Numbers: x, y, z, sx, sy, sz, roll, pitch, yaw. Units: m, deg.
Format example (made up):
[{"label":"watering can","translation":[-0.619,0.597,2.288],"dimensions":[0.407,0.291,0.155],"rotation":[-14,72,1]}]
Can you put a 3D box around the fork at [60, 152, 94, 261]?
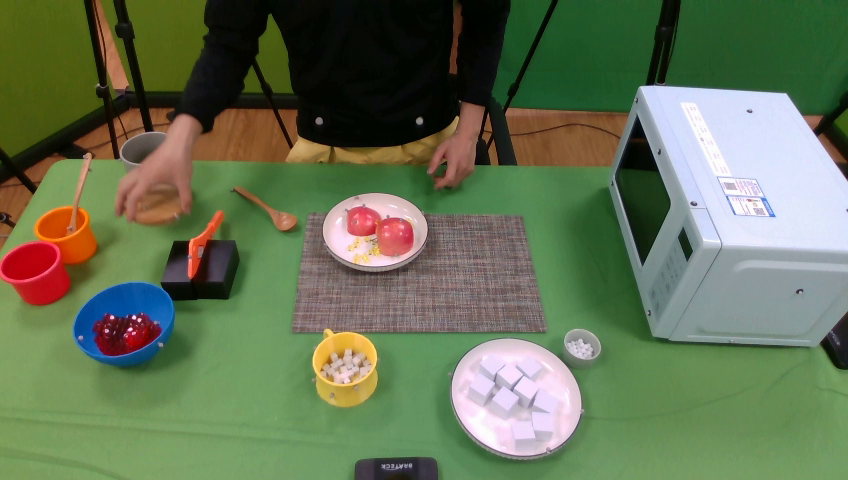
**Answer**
[{"label":"fork","translation":[-0.638,-0.063,1.119],"dimensions":[0.028,0.018,0.207],"rotation":[12,90,6]}]

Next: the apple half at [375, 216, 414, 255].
[{"label":"apple half","translation":[-0.056,-0.017,1.169],"dimensions":[0.075,0.053,0.080],"rotation":[0,45,-7]}]

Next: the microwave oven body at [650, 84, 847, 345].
[{"label":"microwave oven body","translation":[0.569,-0.054,1.116],"dimensions":[0.326,0.261,0.439],"rotation":[2,46,-1]}]

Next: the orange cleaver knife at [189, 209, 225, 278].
[{"label":"orange cleaver knife","translation":[-0.400,0.002,1.122],"dimensions":[0.012,0.077,0.210],"rotation":[3,22,-4]}]

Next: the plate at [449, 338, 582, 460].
[{"label":"plate","translation":[0.141,0.251,0.956],"dimensions":[0.208,0.039,0.206],"rotation":[2,46,-2]}]

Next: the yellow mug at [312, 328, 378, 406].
[{"label":"yellow mug","translation":[-0.132,0.193,0.971],"dimensions":[0.100,0.064,0.130],"rotation":[-22,51,-22]}]

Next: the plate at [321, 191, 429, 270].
[{"label":"plate","translation":[-0.094,-0.015,1.185],"dimensions":[0.209,0.038,0.208],"rotation":[2,46,-2]}]

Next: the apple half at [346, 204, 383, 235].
[{"label":"apple half","translation":[-0.119,-0.049,1.207],"dimensions":[0.081,0.033,0.081],"rotation":[2,50,-2]}]

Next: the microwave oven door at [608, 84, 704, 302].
[{"label":"microwave oven door","translation":[0.424,-0.096,1.138],"dimensions":[0.039,0.245,0.353],"rotation":[2,47,-1]}]

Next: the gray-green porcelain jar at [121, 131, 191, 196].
[{"label":"gray-green porcelain jar","translation":[-0.531,-0.136,1.213],"dimensions":[0.106,0.127,0.105],"rotation":[2,47,-2]}]

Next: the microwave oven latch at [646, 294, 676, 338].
[{"label":"microwave oven latch","translation":[0.413,0.133,1.061],"dimensions":[0.030,0.029,0.078],"rotation":[4,46,1]}]

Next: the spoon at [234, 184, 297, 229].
[{"label":"spoon","translation":[-0.327,-0.074,1.239],"dimensions":[0.193,0.022,0.041],"rotation":[33,70,25]}]

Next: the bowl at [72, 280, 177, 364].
[{"label":"bowl","translation":[-0.473,0.147,0.982],"dimensions":[0.151,0.077,0.150],"rotation":[2,46,-2]}]

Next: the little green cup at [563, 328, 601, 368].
[{"label":"little green cup","translation":[0.265,0.185,1.025],"dimensions":[0.061,0.039,0.061],"rotation":[1,45,-1]}]

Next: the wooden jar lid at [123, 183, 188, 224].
[{"label":"wooden jar lid","translation":[-0.484,-0.065,1.095],"dimensions":[0.108,0.021,0.107],"rotation":[6,41,-5]}]
